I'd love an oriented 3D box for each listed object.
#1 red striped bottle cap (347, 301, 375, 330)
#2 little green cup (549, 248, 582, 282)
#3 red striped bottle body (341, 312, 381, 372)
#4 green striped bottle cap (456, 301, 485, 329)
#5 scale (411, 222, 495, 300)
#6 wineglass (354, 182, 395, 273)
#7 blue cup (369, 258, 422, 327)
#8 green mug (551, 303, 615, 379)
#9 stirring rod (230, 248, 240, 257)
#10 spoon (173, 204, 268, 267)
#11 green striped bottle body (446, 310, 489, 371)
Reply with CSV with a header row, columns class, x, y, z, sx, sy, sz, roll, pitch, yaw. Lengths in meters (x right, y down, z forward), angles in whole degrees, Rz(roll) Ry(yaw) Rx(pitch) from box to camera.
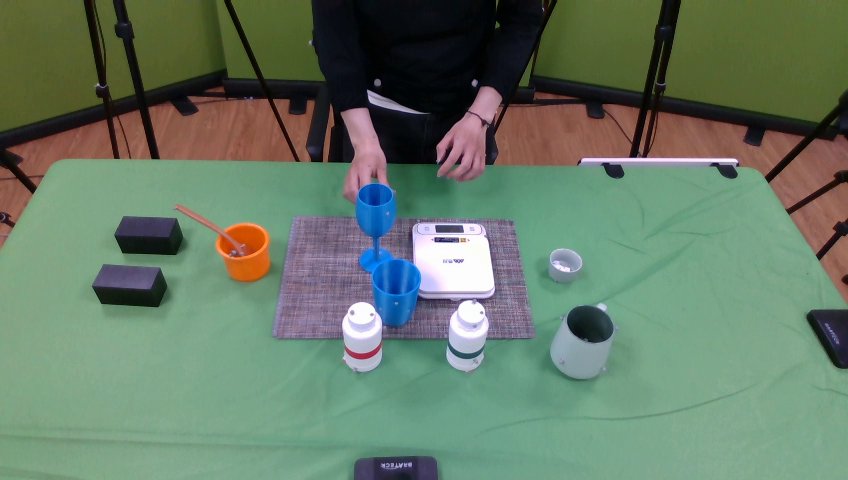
class,x,y,z,sx,sy,sz,roll,pitch,yaw
red striped bottle cap,-0.097,0.116,0.934,0.044,0.018,0.044,2,49,-3
little green cup,0.268,0.050,1.156,0.061,0.039,0.061,2,46,-1
red striped bottle body,-0.100,0.154,0.972,0.063,0.120,0.062,2,46,-2
green striped bottle cap,0.073,0.116,0.943,0.044,0.020,0.044,3,46,-3
scale,0.052,0.031,1.158,0.149,0.032,0.199,1,46,-4
wineglass,-0.089,-0.020,1.098,0.074,0.173,0.073,2,46,-2
blue cup,-0.051,0.097,1.039,0.093,0.101,0.092,3,43,-2
green mug,0.271,0.157,1.007,0.092,0.105,0.125,27,50,21
stirring rod,-0.330,0.023,1.059,0.014,0.176,0.006,33,79,-11
spoon,-0.363,-0.009,1.089,0.021,0.195,0.041,-35,31,23
green striped bottle body,0.070,0.155,0.984,0.063,0.120,0.063,2,46,-2
